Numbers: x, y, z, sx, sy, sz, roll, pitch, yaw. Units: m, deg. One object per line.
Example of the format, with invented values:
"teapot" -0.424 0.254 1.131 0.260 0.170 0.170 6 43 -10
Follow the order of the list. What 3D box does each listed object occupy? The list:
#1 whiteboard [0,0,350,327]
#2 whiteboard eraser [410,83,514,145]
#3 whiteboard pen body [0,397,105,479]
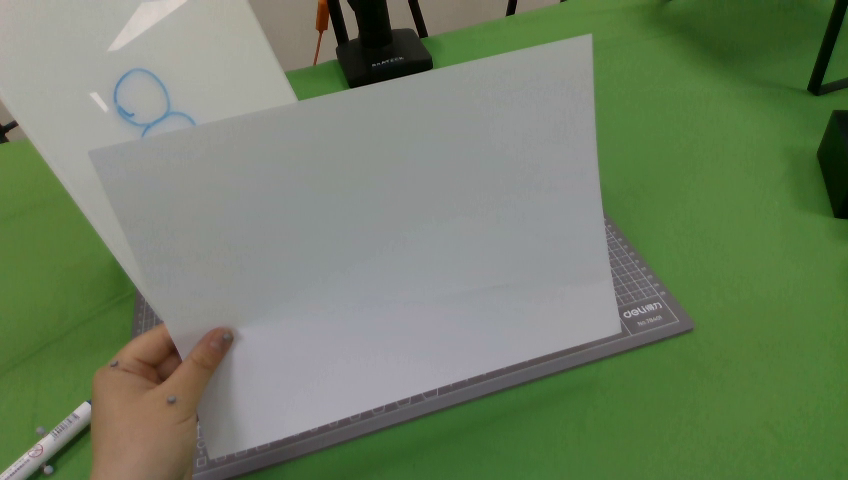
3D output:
"whiteboard" -0.250 -0.116 0.579 0.217 0.308 0.142 -37 29 -25
"whiteboard eraser" 0.044 -0.144 0.703 0.113 0.042 0.055 -18 46 -9
"whiteboard pen body" -0.299 0.171 0.446 0.017 0.017 0.140 21 49 29
